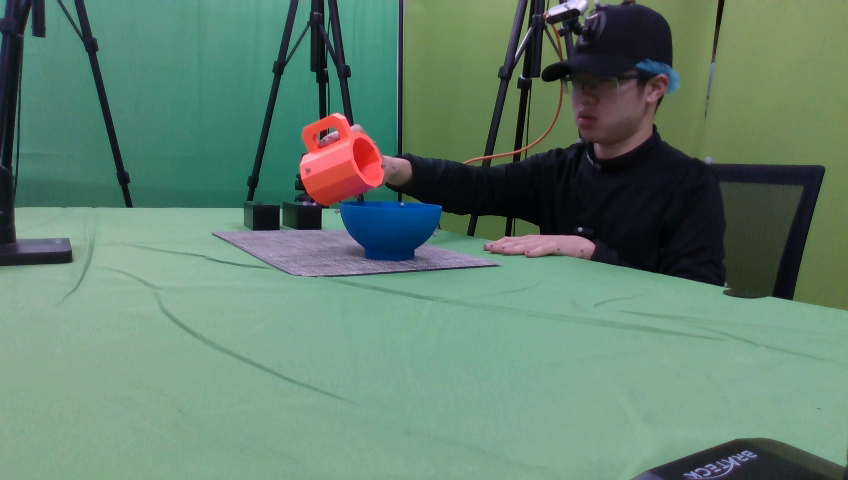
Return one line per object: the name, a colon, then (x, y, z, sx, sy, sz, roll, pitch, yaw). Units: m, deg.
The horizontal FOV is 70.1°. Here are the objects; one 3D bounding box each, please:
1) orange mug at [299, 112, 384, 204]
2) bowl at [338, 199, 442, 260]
orange mug: (-0.130, -0.125, 0.912, 0.100, 0.126, 0.083, -12, 17, 27)
bowl: (-0.050, -0.015, 0.878, 0.151, 0.077, 0.151, 2, 8, 0)
